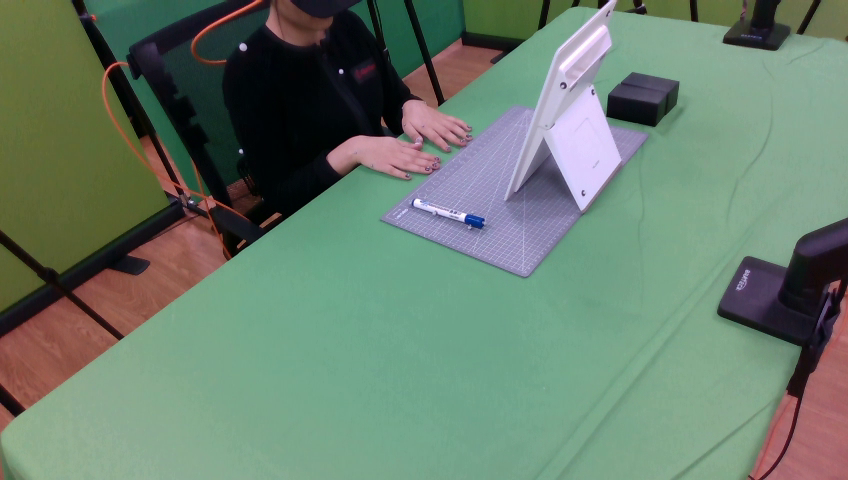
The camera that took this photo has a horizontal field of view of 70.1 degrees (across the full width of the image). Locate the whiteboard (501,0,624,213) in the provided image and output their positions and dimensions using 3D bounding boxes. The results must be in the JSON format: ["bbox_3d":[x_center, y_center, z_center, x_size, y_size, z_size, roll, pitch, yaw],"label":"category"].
[{"bbox_3d":[0.271,-0.189,0.977,0.143,0.306,0.218,34,53,16],"label":"whiteboard"}]

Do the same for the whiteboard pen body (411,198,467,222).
[{"bbox_3d":[0.036,-0.049,1.029,0.139,0.017,0.017,19,48,32],"label":"whiteboard pen body"}]

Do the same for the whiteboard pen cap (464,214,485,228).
[{"bbox_3d":[0.084,-0.032,0.999,0.033,0.018,0.018,18,48,33],"label":"whiteboard pen cap"}]
